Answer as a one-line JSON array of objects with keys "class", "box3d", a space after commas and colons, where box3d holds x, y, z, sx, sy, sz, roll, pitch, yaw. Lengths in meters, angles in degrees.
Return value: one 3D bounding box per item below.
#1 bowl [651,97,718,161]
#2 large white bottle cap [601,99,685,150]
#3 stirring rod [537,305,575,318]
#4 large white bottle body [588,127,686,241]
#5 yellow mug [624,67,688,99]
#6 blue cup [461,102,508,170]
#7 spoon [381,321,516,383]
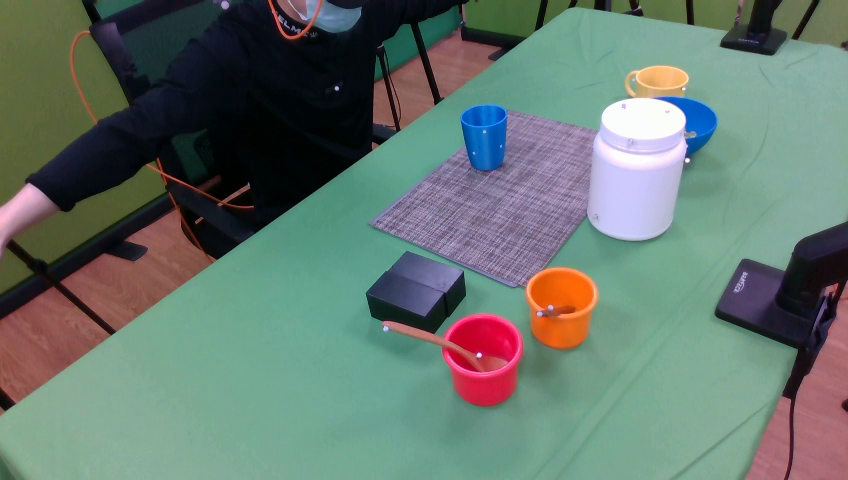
[{"class": "bowl", "box3d": [0.439, -0.187, 1.087, 0.151, 0.077, 0.150, -4, 41, 4]}, {"class": "large white bottle cap", "box3d": [0.314, -0.168, 0.870, 0.115, 0.018, 0.114, -4, 41, 4]}, {"class": "stirring rod", "box3d": [0.168, 0.088, 0.759, 0.014, 0.006, 0.177, 8, 1, 24]}, {"class": "large white bottle body", "box3d": [0.324, -0.105, 0.926, 0.130, 0.185, 0.130, -4, 41, 4]}, {"class": "yellow mug", "box3d": [0.464, -0.305, 1.230, 0.100, 0.064, 0.129, -34, 46, -27]}, {"class": "blue cup", "box3d": [0.114, -0.185, 1.109, 0.092, 0.100, 0.092, -5, 39, 5]}, {"class": "spoon", "box3d": [0.033, 0.131, 0.725, 0.195, 0.021, 0.041, 29, 29, -26]}]
